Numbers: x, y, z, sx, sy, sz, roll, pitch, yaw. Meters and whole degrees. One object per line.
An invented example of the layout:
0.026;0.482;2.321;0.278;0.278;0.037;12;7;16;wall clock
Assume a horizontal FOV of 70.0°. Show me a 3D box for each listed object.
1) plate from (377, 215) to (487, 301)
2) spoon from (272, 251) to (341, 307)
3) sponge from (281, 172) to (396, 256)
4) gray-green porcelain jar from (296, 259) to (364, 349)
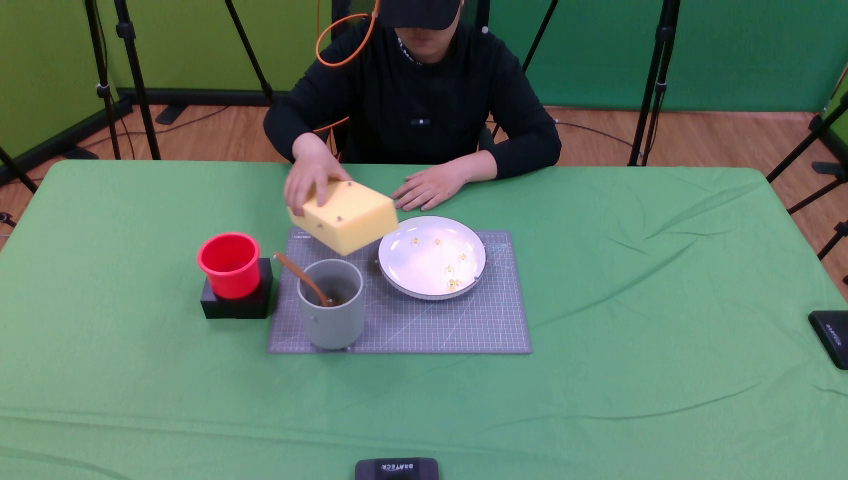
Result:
0.014;0.037;1.147;0.208;0.039;0.206;2;46;-2;plate
-0.180;0.078;0.981;0.021;0.195;0.041;-8;46;28;spoon
-0.160;-0.054;1.109;0.118;0.061;0.205;-29;35;-26;sponge
-0.152;0.111;1.003;0.106;0.127;0.105;2;46;-2;gray-green porcelain jar
